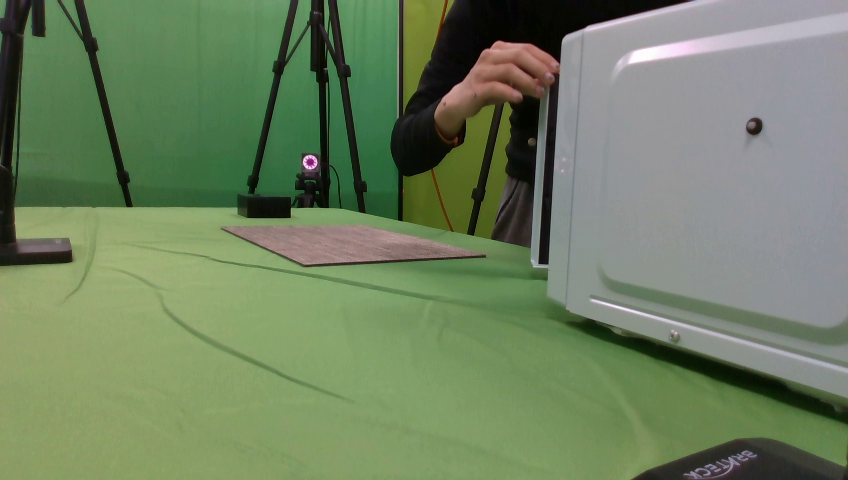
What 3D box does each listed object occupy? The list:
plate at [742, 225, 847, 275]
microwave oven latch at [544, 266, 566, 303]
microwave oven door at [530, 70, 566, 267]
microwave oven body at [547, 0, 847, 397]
[{"bbox_3d":[0.406,0.008,0.553,0.209,0.038,0.209,0,4,0],"label":"plate"},{"bbox_3d":[0.147,0.039,0.554,0.079,0.029,0.030,-1,7,-28],"label":"microwave oven latch"},{"bbox_3d":[0.318,-0.083,0.750,0.356,0.243,0.039,2,7,3],"label":"microwave oven door"},{"bbox_3d":[0.378,-0.045,0.509,0.444,0.260,0.324,-2,8,-31],"label":"microwave oven body"}]
